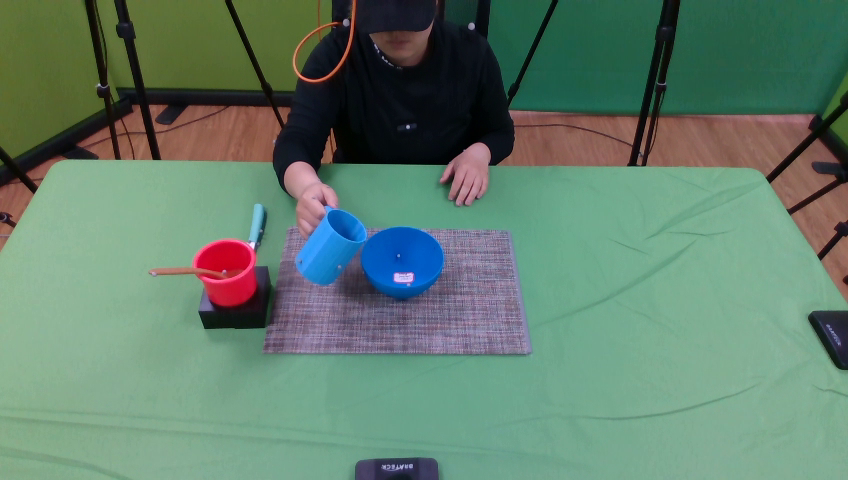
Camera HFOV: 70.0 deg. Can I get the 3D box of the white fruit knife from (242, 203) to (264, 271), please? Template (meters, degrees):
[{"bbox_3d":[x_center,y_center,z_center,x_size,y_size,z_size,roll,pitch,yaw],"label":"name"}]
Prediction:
[{"bbox_3d":[-0.334,0.001,1.178,0.027,0.016,0.206,-18,47,16],"label":"white fruit knife"}]

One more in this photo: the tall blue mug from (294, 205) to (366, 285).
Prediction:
[{"bbox_3d":[-0.165,0.000,0.999,0.107,0.108,0.078,47,30,11],"label":"tall blue mug"}]

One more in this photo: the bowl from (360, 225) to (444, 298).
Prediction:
[{"bbox_3d":[-0.040,0.053,1.099,0.151,0.077,0.150,2,46,-2],"label":"bowl"}]

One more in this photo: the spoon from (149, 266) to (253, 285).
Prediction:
[{"bbox_3d":[-0.351,0.052,0.968,0.041,0.021,0.194,41,13,28],"label":"spoon"}]
